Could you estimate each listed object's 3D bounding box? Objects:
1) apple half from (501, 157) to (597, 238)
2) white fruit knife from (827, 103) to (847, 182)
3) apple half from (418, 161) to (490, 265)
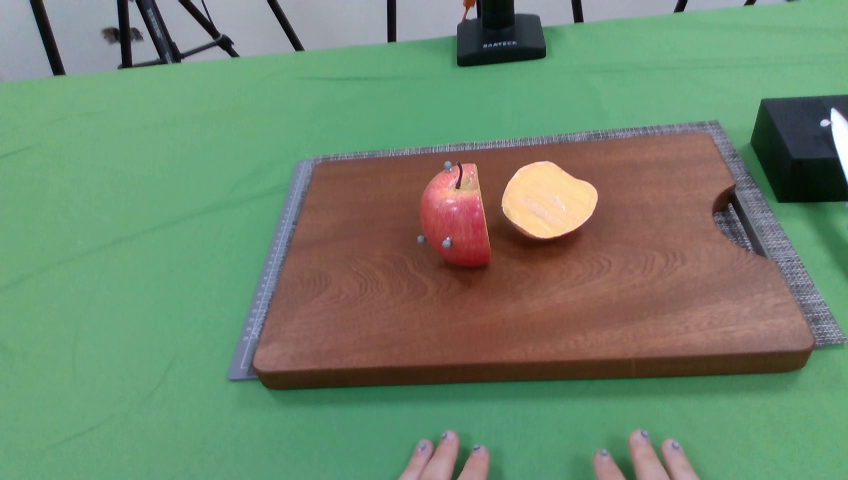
[{"bbox_3d":[0.103,-0.029,0.518,0.081,0.033,0.080,-3,59,6],"label":"apple half"},{"bbox_3d":[0.356,-0.031,0.487,0.027,0.016,0.205,-1,60,8],"label":"white fruit knife"},{"bbox_3d":[0.023,-0.019,0.492,0.053,0.075,0.080,-10,46,6],"label":"apple half"}]
